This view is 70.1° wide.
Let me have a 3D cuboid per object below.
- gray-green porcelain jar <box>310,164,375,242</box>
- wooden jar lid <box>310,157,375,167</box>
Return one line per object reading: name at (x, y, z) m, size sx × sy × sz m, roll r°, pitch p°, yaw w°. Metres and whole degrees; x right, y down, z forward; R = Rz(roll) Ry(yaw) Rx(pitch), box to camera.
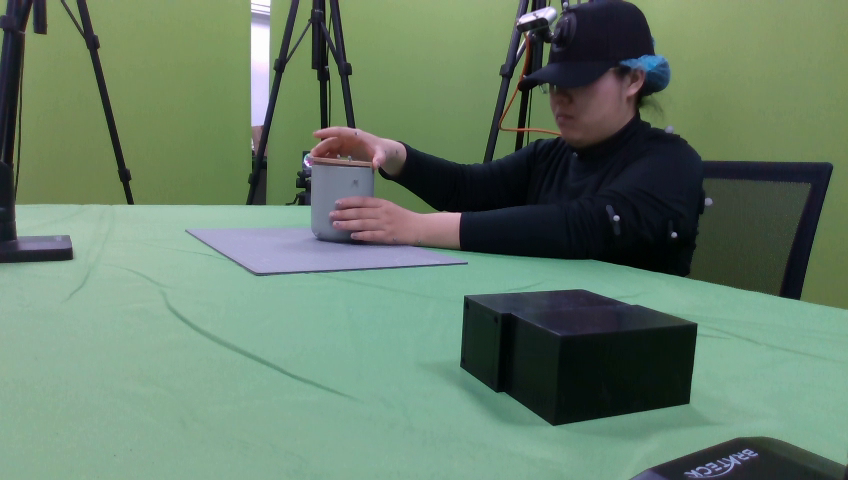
gray-green porcelain jar at (-0.139, -0.063, 1.025) m, size 0.106 × 0.126 × 0.106 m, roll 3°, pitch 8°, yaw 0°
wooden jar lid at (-0.137, -0.126, 1.017) m, size 0.108 × 0.020 × 0.108 m, roll 5°, pitch 9°, yaw 0°
